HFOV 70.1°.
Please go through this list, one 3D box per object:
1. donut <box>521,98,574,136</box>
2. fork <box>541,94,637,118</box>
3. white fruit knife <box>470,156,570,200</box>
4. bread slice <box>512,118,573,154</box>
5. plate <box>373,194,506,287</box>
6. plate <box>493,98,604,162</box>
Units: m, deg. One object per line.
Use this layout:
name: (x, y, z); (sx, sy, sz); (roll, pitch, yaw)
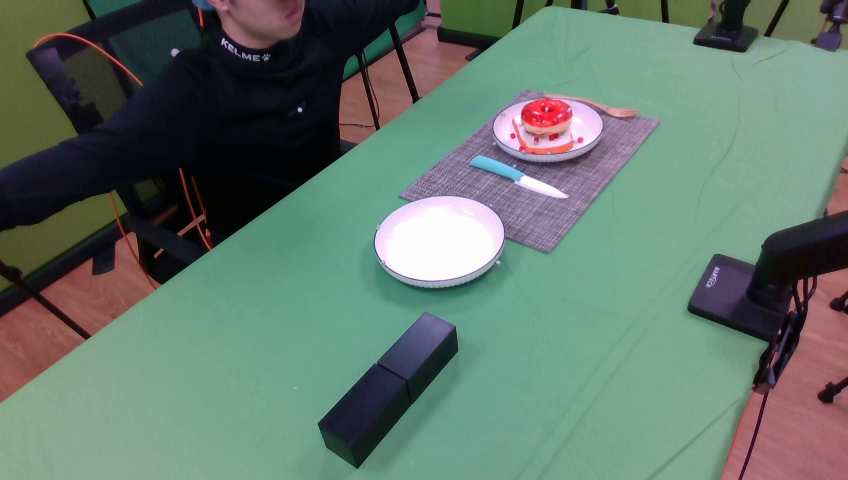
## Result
donut: (0.232, -0.232, 1.135); (0.099, 0.048, 0.098); (-4, 41, 4)
fork: (0.334, -0.277, 1.240); (0.206, 0.019, 0.028); (22, 56, 27)
white fruit knife: (0.169, -0.111, 1.076); (0.205, 0.016, 0.027); (28, 80, 32)
bread slice: (0.232, -0.204, 1.160); (0.105, 0.019, 0.131); (-7, 40, 1)
plate: (0.025, 0.003, 0.952); (0.207, 0.039, 0.206); (-4, 41, 4)
plate: (0.237, -0.206, 1.158); (0.209, 0.038, 0.208); (-4, 40, 4)
